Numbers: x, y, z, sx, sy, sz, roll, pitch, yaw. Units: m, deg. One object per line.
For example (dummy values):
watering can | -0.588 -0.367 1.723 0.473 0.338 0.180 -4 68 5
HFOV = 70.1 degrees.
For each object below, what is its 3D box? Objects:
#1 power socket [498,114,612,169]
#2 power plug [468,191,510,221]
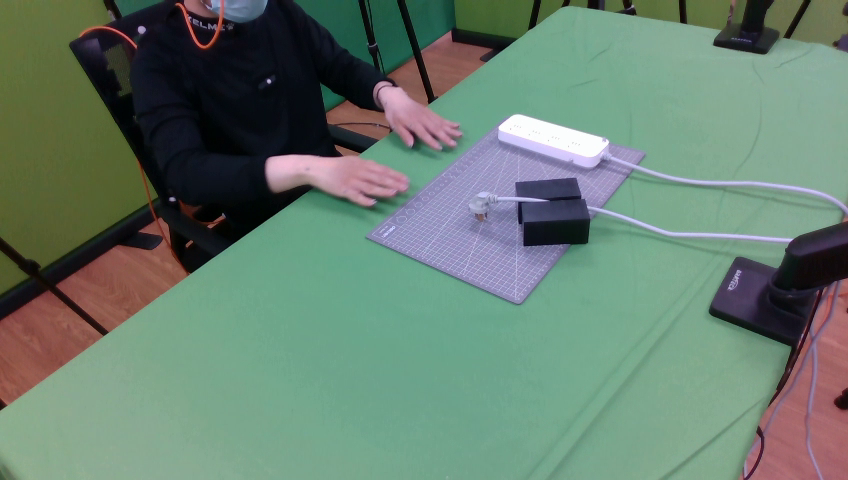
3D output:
power socket | 0.240 -0.189 1.141 0.225 0.033 0.072 25 50 32
power plug | 0.102 -0.050 0.980 0.035 0.053 0.072 -28 37 -29
